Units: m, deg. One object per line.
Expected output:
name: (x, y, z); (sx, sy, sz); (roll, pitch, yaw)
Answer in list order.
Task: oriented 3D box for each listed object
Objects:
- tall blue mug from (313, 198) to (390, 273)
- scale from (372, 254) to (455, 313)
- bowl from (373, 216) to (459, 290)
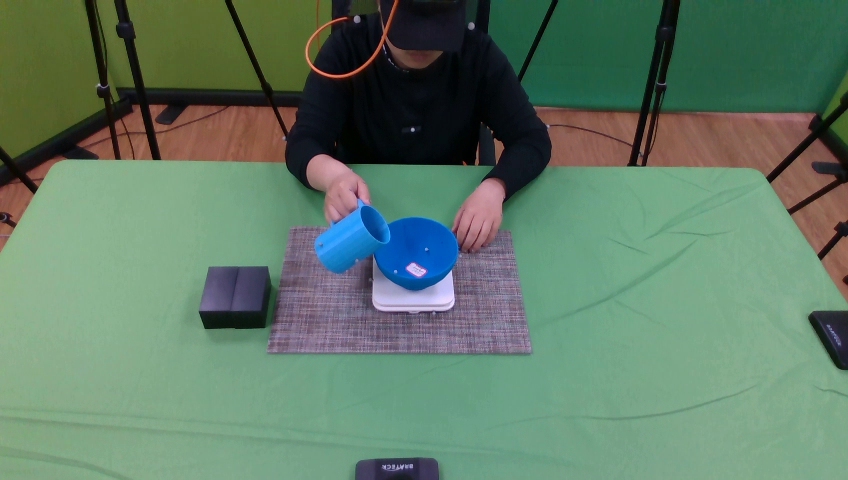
tall blue mug: (-0.129, -0.015, 1.022); (0.107, 0.108, 0.078); (62, 26, 8)
scale: (-0.022, 0.051, 1.134); (0.149, 0.032, 0.199); (1, 46, -4)
bowl: (-0.015, 0.036, 1.075); (0.151, 0.077, 0.150); (1, 46, -1)
